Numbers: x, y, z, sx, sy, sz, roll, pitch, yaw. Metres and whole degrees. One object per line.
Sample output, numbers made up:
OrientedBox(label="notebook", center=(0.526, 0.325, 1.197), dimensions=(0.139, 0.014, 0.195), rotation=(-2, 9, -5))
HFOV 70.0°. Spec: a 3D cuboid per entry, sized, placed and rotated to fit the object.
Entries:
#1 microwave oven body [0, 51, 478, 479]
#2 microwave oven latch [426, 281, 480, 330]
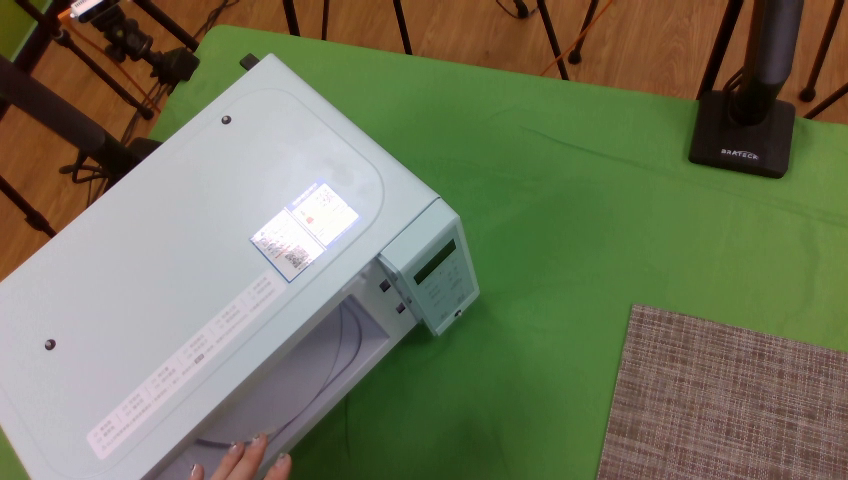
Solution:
OrientedBox(label="microwave oven body", center=(-0.208, 0.068, 0.695), dimensions=(0.441, 0.262, 0.323), rotation=(-44, 68, -9))
OrientedBox(label="microwave oven latch", center=(0.035, 0.075, 0.755), dimensions=(0.079, 0.030, 0.030), rotation=(-42, 67, -8))
